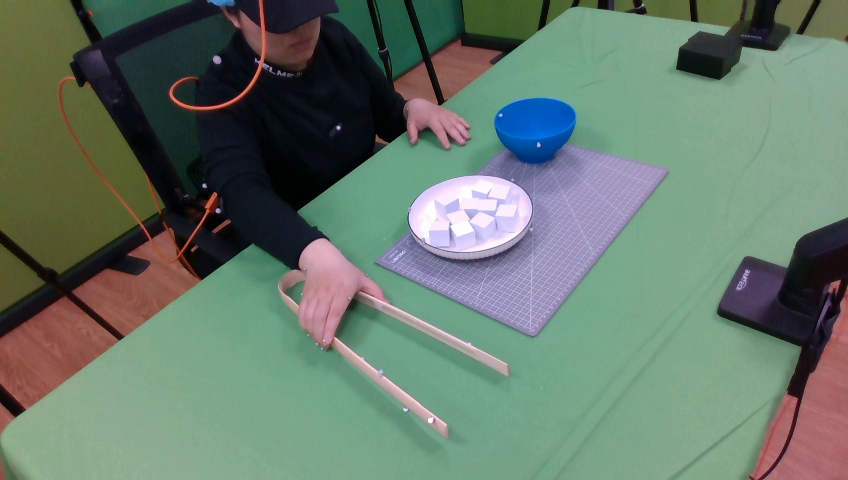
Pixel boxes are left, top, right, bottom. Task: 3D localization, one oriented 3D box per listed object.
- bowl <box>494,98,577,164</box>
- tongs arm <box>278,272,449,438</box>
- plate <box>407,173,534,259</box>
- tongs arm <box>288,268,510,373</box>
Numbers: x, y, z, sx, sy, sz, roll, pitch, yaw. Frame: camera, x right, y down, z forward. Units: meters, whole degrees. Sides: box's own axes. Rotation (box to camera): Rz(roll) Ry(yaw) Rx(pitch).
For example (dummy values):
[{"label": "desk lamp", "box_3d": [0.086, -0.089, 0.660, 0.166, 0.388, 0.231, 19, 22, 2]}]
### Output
[{"label": "bowl", "box_3d": [0.207, -0.195, 1.128, 0.151, 0.077, 0.150, -5, 40, 5]}, {"label": "tongs arm", "box_3d": [-0.092, 0.141, 0.823, 0.381, 0.026, 0.051, 27, 53, 37]}, {"label": "plate", "box_3d": [0.076, -0.037, 0.997, 0.207, 0.039, 0.206, -5, 40, 5]}, {"label": "tongs arm", "box_3d": [-0.048, 0.106, 0.857, 0.384, 0.028, 0.028, 20, 52, 31]}]
